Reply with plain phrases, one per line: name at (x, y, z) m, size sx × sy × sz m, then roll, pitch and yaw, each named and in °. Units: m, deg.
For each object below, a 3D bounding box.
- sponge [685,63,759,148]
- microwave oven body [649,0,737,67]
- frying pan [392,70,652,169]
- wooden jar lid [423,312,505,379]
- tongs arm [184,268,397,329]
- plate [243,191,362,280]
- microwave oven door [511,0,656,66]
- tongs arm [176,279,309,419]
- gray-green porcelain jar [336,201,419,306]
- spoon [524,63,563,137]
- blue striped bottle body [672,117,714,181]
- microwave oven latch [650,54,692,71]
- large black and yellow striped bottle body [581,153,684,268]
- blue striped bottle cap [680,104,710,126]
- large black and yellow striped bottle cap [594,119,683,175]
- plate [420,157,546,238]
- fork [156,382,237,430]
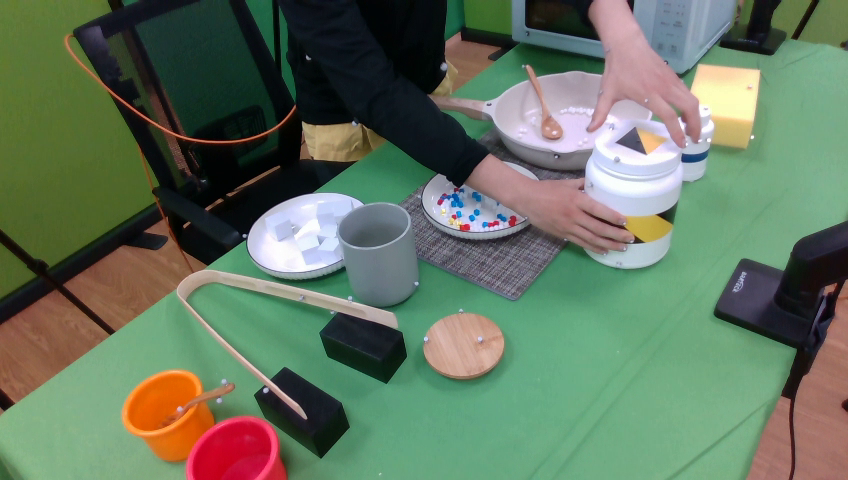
sponge at (0.569, -0.263, 1.164) m, size 0.117 × 0.061 × 0.207 m, roll 12°, pitch 45°, yaw 22°
microwave oven body at (0.475, -0.602, 1.411) m, size 0.438 × 0.261 × 0.327 m, roll 23°, pitch 50°, yaw 32°
frying pan at (0.176, -0.248, 1.165) m, size 0.487 × 0.103 × 0.306 m, roll 12°, pitch 43°, yaw 9°
wooden jar lid at (0.053, 0.142, 0.800) m, size 0.108 × 0.021 × 0.108 m, roll -5°, pitch 39°, yaw 4°
tongs arm at (-0.202, 0.084, 0.848) m, size 0.382 × 0.027 × 0.051 m, roll 11°, pitch 45°, yaw 35°
plate at (-0.187, -0.005, 0.992) m, size 0.207 × 0.039 × 0.206 m, roll -3°, pitch 41°, yaw 3°
microwave oven door at (0.351, -0.540, 1.349) m, size 0.353 × 0.245 × 0.039 m, roll 24°, pitch 50°, yaw 31°
tongs arm at (-0.254, 0.133, 0.801) m, size 0.028 × 0.028 × 0.384 m, roll -41°, pitch 40°, yaw -23°
gray-green porcelain jar at (-0.064, 0.024, 0.872) m, size 0.106 × 0.127 × 0.105 m, roll -4°, pitch 41°, yaw 4°
spoon at (0.234, -0.281, 1.203) m, size 0.041 × 0.022 × 0.192 m, roll -13°, pitch 68°, yaw -2°
blue striped bottle body at (0.449, -0.165, 1.022) m, size 0.063 × 0.121 × 0.063 m, roll -5°, pitch 41°, yaw 4°
microwave oven latch at (0.531, -0.386, 1.301) m, size 0.078 × 0.029 × 0.030 m, roll 25°, pitch 50°, yaw 32°
large black and yellow striped bottle body at (0.300, -0.064, 0.878) m, size 0.131 × 0.185 × 0.130 m, roll -4°, pitch 41°, yaw 4°
blue striped bottle cap at (0.444, -0.205, 0.989) m, size 0.044 × 0.021 × 0.044 m, roll -1°, pitch 41°, yaw 2°
large black and yellow striped bottle cap at (0.290, -0.128, 0.822) m, size 0.115 × 0.019 × 0.114 m, roll -3°, pitch 42°, yaw 3°
plate at (0.100, -0.068, 1.017) m, size 0.209 × 0.038 × 0.208 m, roll -4°, pitch 40°, yaw 4°
fork at (-0.262, 0.189, 0.690) m, size 0.018 × 0.206 × 0.028 m, roll 49°, pitch 43°, yaw -7°
